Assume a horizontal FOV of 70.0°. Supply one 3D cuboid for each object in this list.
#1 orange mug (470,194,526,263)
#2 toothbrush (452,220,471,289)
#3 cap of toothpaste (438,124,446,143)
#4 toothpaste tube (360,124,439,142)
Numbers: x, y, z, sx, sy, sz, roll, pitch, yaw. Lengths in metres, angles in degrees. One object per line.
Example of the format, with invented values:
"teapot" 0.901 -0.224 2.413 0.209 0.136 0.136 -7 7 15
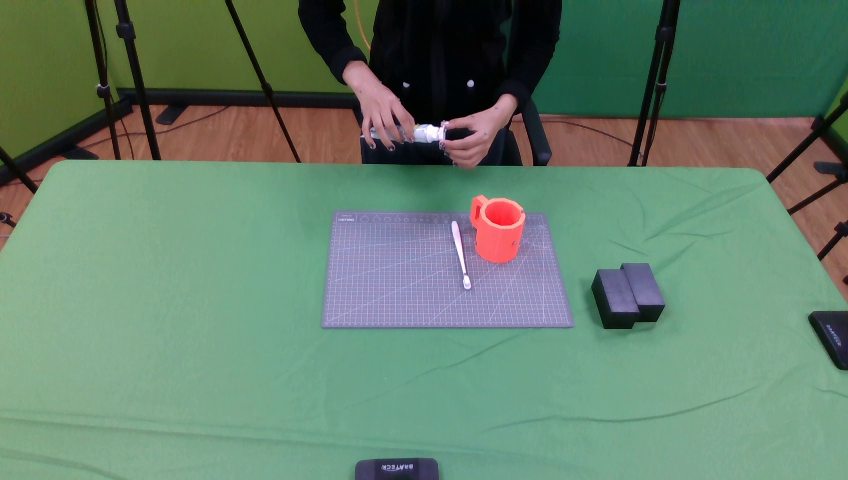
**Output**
"orange mug" 0.136 -0.030 1.180 0.083 0.101 0.125 -26 58 -26
"toothbrush" 0.071 0.024 1.180 0.014 0.017 0.180 -13 45 5
"cap of toothpaste" 0.034 -0.204 1.156 0.011 0.037 0.037 5 46 7
"toothpaste tube" -0.041 -0.213 1.189 0.164 0.034 0.055 7 30 22
